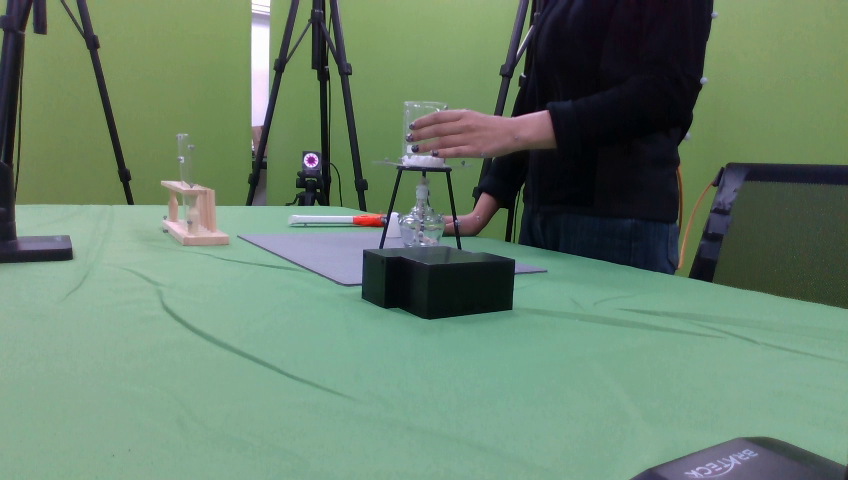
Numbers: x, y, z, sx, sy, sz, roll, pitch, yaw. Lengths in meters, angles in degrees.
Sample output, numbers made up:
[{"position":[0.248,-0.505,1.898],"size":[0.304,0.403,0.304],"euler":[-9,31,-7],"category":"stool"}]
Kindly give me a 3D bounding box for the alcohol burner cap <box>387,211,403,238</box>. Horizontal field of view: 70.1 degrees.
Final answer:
[{"position":[-0.053,-0.029,1.107],"size":[0.034,0.048,0.034],"euler":[3,8,0],"category":"alcohol burner cap"}]

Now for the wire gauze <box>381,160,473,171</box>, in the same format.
[{"position":[-0.004,-0.120,0.959],"size":[0.122,0.011,0.124],"euler":[-5,13,-32],"category":"wire gauze"}]

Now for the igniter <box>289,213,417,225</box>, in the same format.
[{"position":[-0.144,-0.044,1.275],"size":[0.278,0.025,0.057],"euler":[-1,-2,-27],"category":"igniter"}]

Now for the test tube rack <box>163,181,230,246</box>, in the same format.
[{"position":[-0.387,-0.050,1.015],"size":[0.067,0.085,0.241],"euler":[-2,9,-30],"category":"test tube rack"}]

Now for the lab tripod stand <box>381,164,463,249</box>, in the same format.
[{"position":[-0.003,-0.055,0.967],"size":[0.148,0.131,0.148],"euler":[2,9,0],"category":"lab tripod stand"}]

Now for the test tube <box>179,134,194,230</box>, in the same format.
[{"position":[-0.366,-0.089,0.938],"size":[0.017,0.150,0.017],"euler":[-1,9,1],"category":"test tube"}]

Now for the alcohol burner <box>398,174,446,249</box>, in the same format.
[{"position":[-0.003,-0.046,0.973],"size":[0.078,0.119,0.078],"euler":[0,7,0],"category":"alcohol burner"}]

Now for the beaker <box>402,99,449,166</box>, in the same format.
[{"position":[0.003,-0.168,0.957],"size":[0.073,0.100,0.084],"euler":[9,11,35],"category":"beaker"}]
